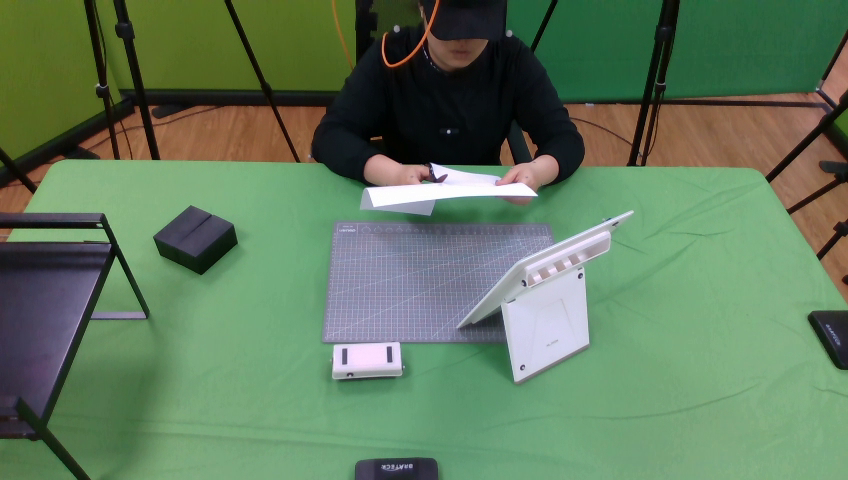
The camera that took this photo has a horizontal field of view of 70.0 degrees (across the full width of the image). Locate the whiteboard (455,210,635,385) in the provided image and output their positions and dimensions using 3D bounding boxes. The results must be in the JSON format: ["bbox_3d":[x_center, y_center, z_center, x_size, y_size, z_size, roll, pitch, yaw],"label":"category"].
[{"bbox_3d":[0.211,0.111,0.955,0.217,0.306,0.143,-21,71,-23],"label":"whiteboard"}]

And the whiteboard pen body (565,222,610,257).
[{"bbox_3d":[0.335,-0.004,1.228,0.141,0.017,0.017,-33,56,-29],"label":"whiteboard pen body"}]

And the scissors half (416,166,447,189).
[{"bbox_3d":[0.014,-0.116,1.155,0.013,0.040,0.174,-21,20,-12],"label":"scissors half"}]

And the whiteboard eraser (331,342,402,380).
[{"bbox_3d":[-0.094,0.198,0.986,0.113,0.042,0.055,-2,44,-6],"label":"whiteboard eraser"}]

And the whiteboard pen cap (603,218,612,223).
[{"bbox_3d":[0.379,-0.031,1.255,0.033,0.018,0.018,-33,57,-29],"label":"whiteboard pen cap"}]

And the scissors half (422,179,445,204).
[{"bbox_3d":[0.021,-0.096,1.159,0.013,0.175,0.040,-27,89,-11],"label":"scissors half"}]
